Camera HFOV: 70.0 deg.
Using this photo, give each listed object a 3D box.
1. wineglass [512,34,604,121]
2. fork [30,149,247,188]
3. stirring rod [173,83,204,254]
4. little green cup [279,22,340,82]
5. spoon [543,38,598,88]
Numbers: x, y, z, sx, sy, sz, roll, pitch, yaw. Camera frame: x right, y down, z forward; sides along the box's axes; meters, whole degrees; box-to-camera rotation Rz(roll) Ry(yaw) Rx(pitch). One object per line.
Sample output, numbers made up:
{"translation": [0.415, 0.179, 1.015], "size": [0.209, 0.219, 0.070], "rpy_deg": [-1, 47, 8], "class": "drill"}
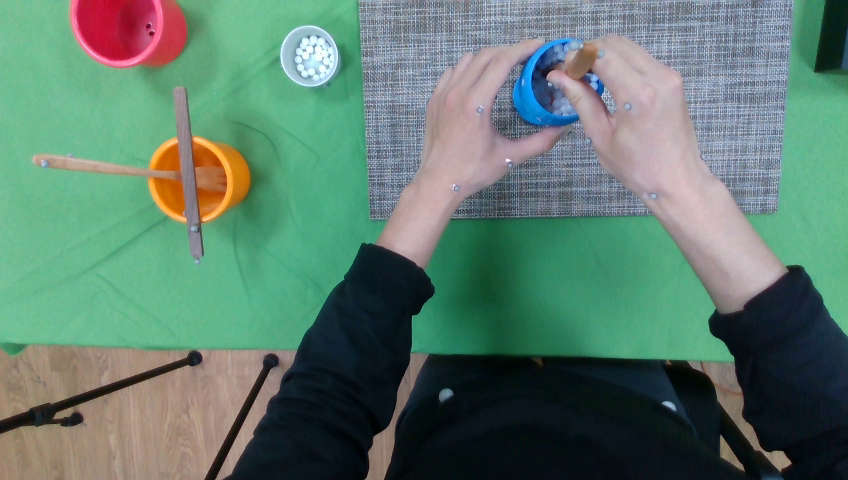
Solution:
{"translation": [0.120, -0.148, 0.570], "size": [0.073, 0.172, 0.074], "rpy_deg": [1, 100, 4], "class": "wineglass"}
{"translation": [-0.286, -0.075, 0.630], "size": [0.209, 0.018, 0.028], "rpy_deg": [3, 112, -40], "class": "fork"}
{"translation": [-0.243, -0.072, 0.625], "size": [0.014, 0.006, 0.176], "rpy_deg": [-1, 100, 4], "class": "stirring rod"}
{"translation": [-0.120, -0.199, 0.650], "size": [0.061, 0.038, 0.062], "rpy_deg": [1, 101, 5], "class": "little green cup"}
{"translation": [0.113, -0.132, 0.460], "size": [0.041, 0.193, 0.022], "rpy_deg": [27, 105, 2], "class": "spoon"}
